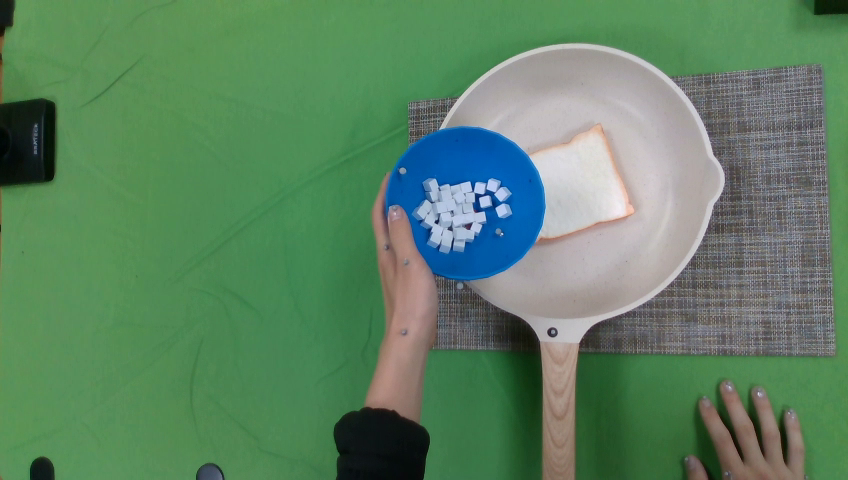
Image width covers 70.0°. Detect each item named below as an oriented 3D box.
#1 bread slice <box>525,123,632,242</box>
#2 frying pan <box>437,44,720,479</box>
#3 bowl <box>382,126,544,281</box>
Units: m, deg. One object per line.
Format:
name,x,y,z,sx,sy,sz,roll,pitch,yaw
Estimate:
bread slice,0.151,-0.054,0.678,0.134,0.018,0.106,-23,81,10
frying pan,0.140,0.044,0.634,0.306,0.103,0.485,1,78,16
bowl,0.036,-0.027,0.594,0.151,0.077,0.150,0,77,-1
